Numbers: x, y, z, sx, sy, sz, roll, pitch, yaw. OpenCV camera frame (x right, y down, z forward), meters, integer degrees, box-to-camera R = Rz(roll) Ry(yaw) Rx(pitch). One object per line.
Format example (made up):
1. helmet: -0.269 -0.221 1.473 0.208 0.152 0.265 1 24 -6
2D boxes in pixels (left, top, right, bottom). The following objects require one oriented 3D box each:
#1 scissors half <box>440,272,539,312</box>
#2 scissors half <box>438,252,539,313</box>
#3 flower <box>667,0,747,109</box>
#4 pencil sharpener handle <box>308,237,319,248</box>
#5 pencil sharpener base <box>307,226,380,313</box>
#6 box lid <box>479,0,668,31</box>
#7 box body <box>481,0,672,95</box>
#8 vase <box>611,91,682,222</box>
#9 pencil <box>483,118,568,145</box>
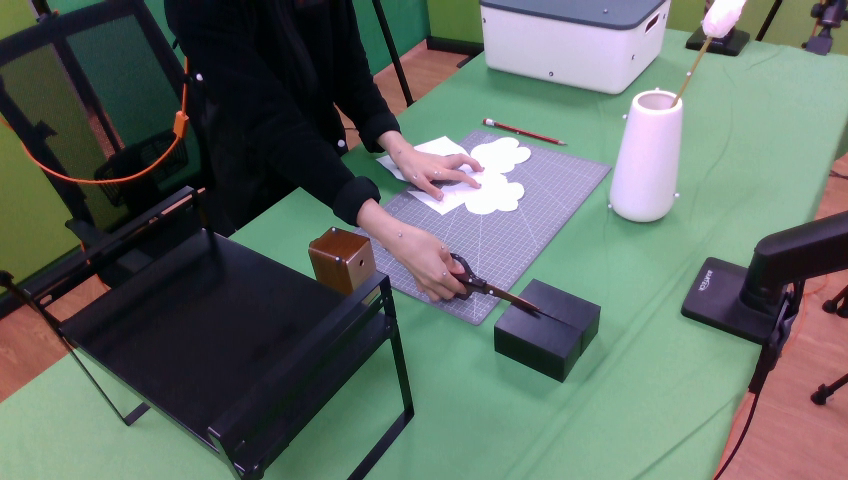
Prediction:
1. scissors half: 0.087 0.075 0.833 0.013 0.040 0.173 -31 28 -35
2. scissors half: 0.084 0.058 0.823 0.173 0.040 0.013 30 51 33
3. flower: 0.354 -0.187 0.879 0.038 0.362 0.044 30 48 14
4. pencil sharpener handle: -0.159 0.018 0.892 0.030 0.068 0.036 18 61 28
5. pencil sharpener base: -0.116 0.043 0.875 0.076 0.107 0.061 18 47 27
6. box lid: 0.335 -0.536 1.331 0.368 0.015 0.264 23 49 30
7. box body: 0.341 -0.480 1.381 0.361 0.161 0.255 22 48 30
8. vase: 0.348 -0.125 0.935 0.098 0.201 0.097 -3 40 3
9. pencil: 0.201 -0.217 1.212 0.192 0.012 0.012 24 49 29
